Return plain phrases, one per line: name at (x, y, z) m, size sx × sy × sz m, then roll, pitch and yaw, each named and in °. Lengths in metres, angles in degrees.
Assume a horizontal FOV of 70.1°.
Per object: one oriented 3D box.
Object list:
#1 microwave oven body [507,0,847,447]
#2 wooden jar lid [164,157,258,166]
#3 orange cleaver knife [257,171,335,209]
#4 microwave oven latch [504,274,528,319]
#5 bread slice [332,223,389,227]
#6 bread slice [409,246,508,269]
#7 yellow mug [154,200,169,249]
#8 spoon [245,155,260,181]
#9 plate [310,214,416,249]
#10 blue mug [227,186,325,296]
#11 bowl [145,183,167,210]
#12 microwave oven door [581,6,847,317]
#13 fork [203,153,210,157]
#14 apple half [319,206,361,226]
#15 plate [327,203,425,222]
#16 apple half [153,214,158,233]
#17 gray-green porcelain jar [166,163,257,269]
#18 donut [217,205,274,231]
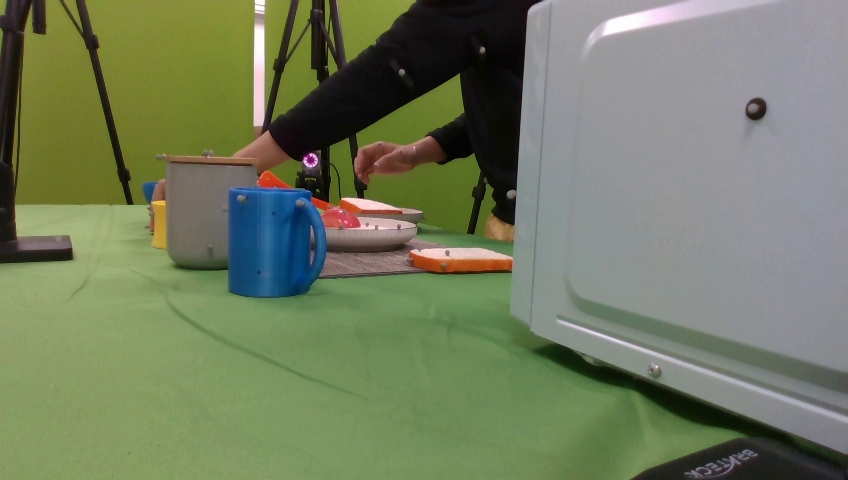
microwave oven body at (0.331, -0.042, 0.425) m, size 0.444 × 0.260 × 0.324 m, roll -2°, pitch 8°, yaw -31°
wooden jar lid at (-0.261, -0.093, 0.746) m, size 0.108 × 0.020 × 0.108 m, roll 1°, pitch 9°, yaw 0°
orange cleaver knife at (-0.283, -0.086, 1.343) m, size 0.212 × 0.077 × 0.012 m, roll 24°, pitch -16°, yaw -41°
microwave oven latch at (0.100, 0.041, 0.470) m, size 0.079 × 0.029 × 0.030 m, roll -1°, pitch 7°, yaw -27°
bread slice at (-0.116, -0.013, 0.975) m, size 0.135 × 0.018 × 0.106 m, roll -6°, pitch 12°, yaw -42°
bread slice at (0.048, 0.022, 0.816) m, size 0.132 × 0.019 × 0.104 m, roll 0°, pitch 6°, yaw -24°
yellow mug at (-0.337, -0.023, 0.899) m, size 0.130 × 0.064 × 0.100 m, roll 8°, pitch 11°, yaw 35°
spoon at (-0.421, -0.150, 1.540) m, size 0.042 × 0.193 × 0.021 m, roll -5°, pitch -35°, yaw -37°
plate at (-0.117, -0.014, 0.967) m, size 0.208 × 0.039 × 0.207 m, roll 2°, pitch 7°, yaw 0°
blue mug at (-0.146, 0.000, 0.618) m, size 0.116 × 0.106 × 0.083 m, roll 7°, pitch 9°, yaw 32°
bowl at (-0.459, -0.069, 1.175) m, size 0.151 × 0.077 × 0.151 m, roll 3°, pitch 7°, yaw 0°
microwave oven door at (0.295, -0.067, 0.570) m, size 0.358 × 0.243 × 0.039 m, roll -3°, pitch 8°, yaw -31°
fork at (-0.480, -0.135, 1.411) m, size 0.028 × 0.018 × 0.207 m, roll 1°, pitch -34°, yaw -1°
apple half at (-0.142, -0.041, 1.002) m, size 0.081 × 0.033 × 0.081 m, roll 0°, pitch 7°, yaw 0°
plate at (-0.102, -0.053, 1.299) m, size 0.209 × 0.038 × 0.209 m, roll 2°, pitch 8°, yaw 0°
apple half at (-0.416, -0.038, 1.022) m, size 0.081 × 0.053 × 0.074 m, roll 0°, pitch 0°, yaw -9°
gray-green porcelain jar at (-0.263, -0.032, 0.754) m, size 0.106 × 0.126 × 0.106 m, roll 2°, pitch 7°, yaw 0°
donut at (-0.318, -0.038, 1.080) m, size 0.099 × 0.048 × 0.099 m, roll 2°, pitch 6°, yaw 0°
